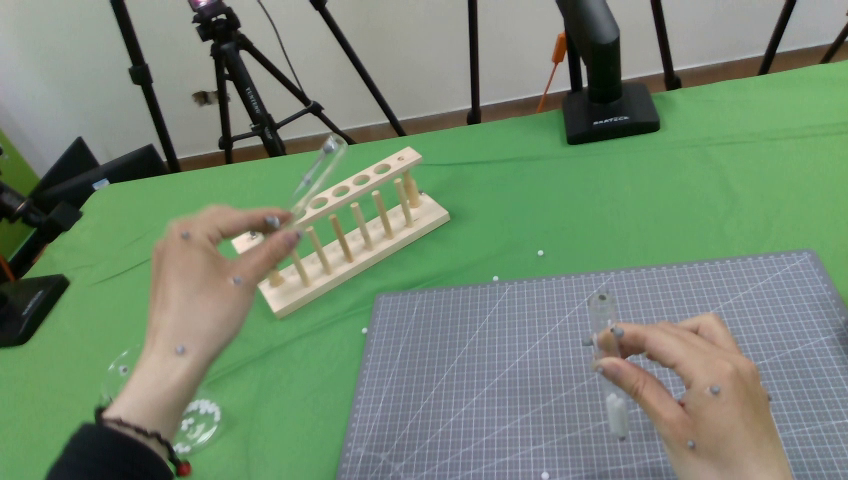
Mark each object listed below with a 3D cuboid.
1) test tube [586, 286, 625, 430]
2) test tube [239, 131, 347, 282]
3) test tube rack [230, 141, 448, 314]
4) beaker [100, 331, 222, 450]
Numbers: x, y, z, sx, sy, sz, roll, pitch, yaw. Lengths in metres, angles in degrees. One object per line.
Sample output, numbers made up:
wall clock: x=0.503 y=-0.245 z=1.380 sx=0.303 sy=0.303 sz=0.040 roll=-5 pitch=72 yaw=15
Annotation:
test tube: x=0.126 y=0.087 z=0.416 sx=0.017 sy=0.152 sz=0.017 roll=-12 pitch=40 yaw=10
test tube: x=-0.103 y=-0.021 z=0.461 sx=0.151 sy=0.017 sz=0.017 roll=-51 pitch=32 yaw=25
test tube rack: x=-0.096 y=-0.019 z=0.728 sx=0.242 sy=0.086 sz=0.066 roll=-31 pitch=42 yaw=-15
beaker: x=-0.245 y=0.146 z=0.583 sx=0.073 sy=0.101 sz=0.083 roll=14 pitch=49 yaw=32
